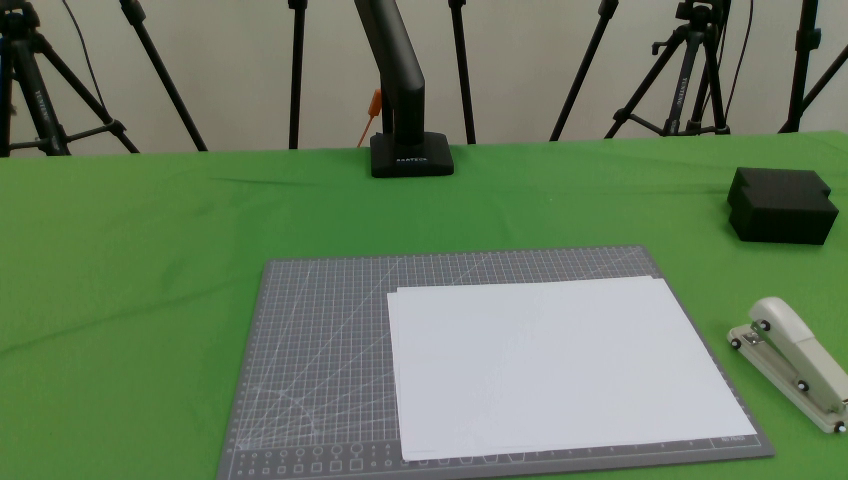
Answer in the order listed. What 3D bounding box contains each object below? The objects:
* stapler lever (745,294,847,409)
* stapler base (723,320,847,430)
[{"bbox_3d":[0.339,0.095,0.546,0.027,0.040,0.116,-13,40,-15],"label":"stapler lever"},{"bbox_3d":[0.338,0.115,0.562,0.041,0.024,0.129,-13,39,-16],"label":"stapler base"}]
